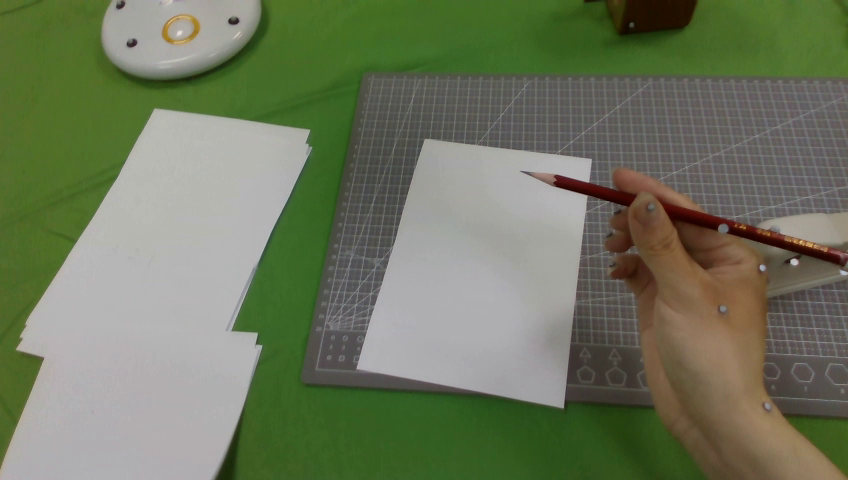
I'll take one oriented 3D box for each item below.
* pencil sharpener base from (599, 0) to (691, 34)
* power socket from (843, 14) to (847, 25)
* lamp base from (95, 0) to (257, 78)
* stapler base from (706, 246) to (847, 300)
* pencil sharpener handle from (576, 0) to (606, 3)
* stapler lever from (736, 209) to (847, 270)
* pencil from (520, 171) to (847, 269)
[{"bbox_3d":[0.201,-0.248,0.543,0.077,0.108,0.061,-8,59,1],"label":"pencil sharpener base"},{"bbox_3d":[0.474,-0.151,0.507,0.072,0.033,0.224,-34,62,-16],"label":"power socket"},{"bbox_3d":[-0.260,-0.271,0.550,0.161,0.182,0.177,-25,58,-10],"label":"lamp base"},{"bbox_3d":[0.270,0.009,0.430,0.131,0.024,0.041,-12,60,-4],"label":"stapler base"},{"bbox_3d":[0.150,-0.243,0.529,0.030,0.068,0.035,-8,36,1],"label":"pencil sharpener handle"},{"bbox_3d":[0.270,-0.005,0.410,0.118,0.040,0.026,-12,60,-4],"label":"stapler lever"},{"bbox_3d":[0.143,-0.011,0.316,0.193,0.012,0.012,17,62,18],"label":"pencil"}]
